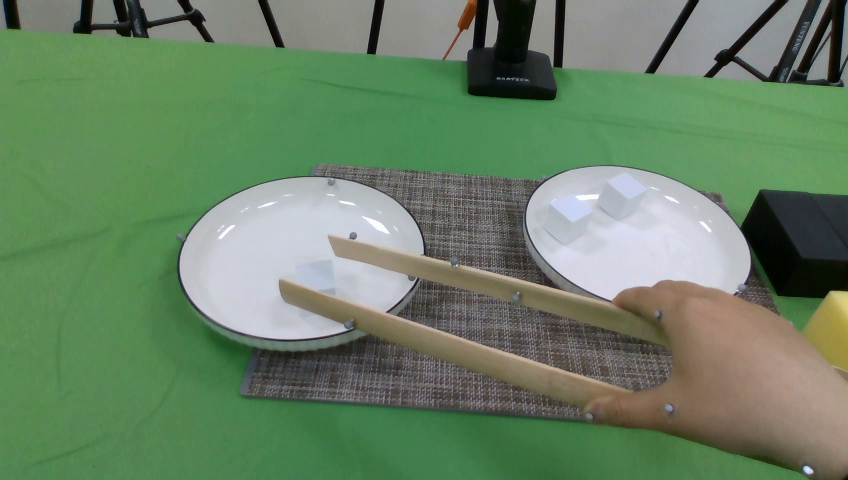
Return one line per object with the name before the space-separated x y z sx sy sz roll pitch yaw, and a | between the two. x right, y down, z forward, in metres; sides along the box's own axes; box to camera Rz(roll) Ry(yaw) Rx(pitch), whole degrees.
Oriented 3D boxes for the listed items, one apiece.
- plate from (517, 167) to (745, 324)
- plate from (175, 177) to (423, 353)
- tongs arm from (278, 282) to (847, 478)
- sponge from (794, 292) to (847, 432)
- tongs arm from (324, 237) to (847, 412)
plate | 0.190 0.005 0.578 0.208 0.039 0.205 3 42 -2
plate | -0.105 0.020 0.533 0.209 0.038 0.207 3 42 -2
tongs arm | 0.063 0.078 0.384 0.385 0.028 0.028 12 39 24
sponge | 0.384 0.134 0.442 0.118 0.061 0.204 1 43 -3
tongs arm | 0.081 0.056 0.408 0.382 0.027 0.050 12 42 24
